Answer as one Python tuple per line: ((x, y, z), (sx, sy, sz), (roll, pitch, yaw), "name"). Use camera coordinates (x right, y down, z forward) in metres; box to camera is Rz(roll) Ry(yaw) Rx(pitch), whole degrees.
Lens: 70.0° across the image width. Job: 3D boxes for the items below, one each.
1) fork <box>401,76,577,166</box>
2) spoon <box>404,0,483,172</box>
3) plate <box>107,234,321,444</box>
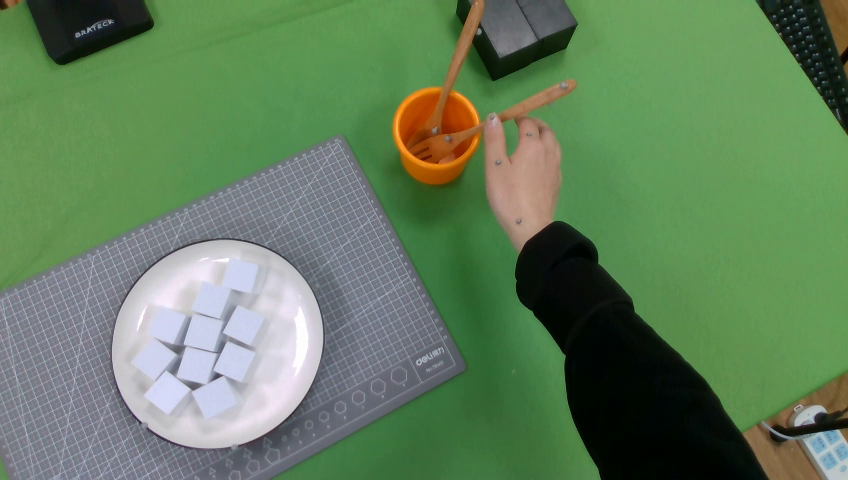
((0.059, -0.120, 0.616), (0.207, 0.018, 0.028), (-19, 95, 36), "fork")
((0.022, -0.156, 0.627), (0.041, 0.195, 0.021), (29, 35, 9), "spoon")
((-0.207, 0.098, 0.615), (0.208, 0.039, 0.206), (1, 78, -3), "plate")
